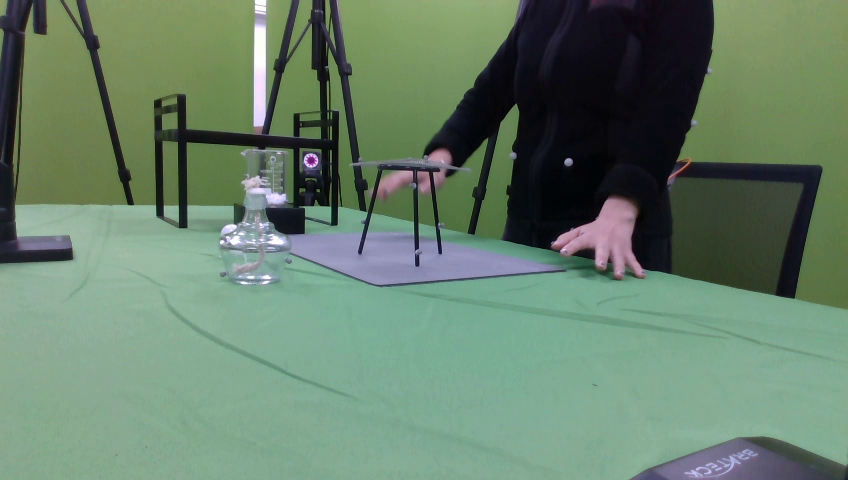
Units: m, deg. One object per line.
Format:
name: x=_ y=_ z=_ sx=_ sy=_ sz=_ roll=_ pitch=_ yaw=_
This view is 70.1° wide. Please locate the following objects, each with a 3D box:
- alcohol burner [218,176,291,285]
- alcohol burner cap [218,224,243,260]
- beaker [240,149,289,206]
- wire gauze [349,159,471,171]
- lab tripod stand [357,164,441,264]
alcohol burner: x=-0.187 y=-0.011 z=0.668 sx=0.078 sy=0.119 sz=0.078 roll=2 pitch=10 yaw=0
alcohol burner cap: x=-0.263 y=0.002 z=0.824 sx=0.034 sy=0.048 sz=0.034 roll=5 pitch=9 yaw=0
beaker: x=-0.286 y=-0.112 z=1.086 sx=0.084 sy=0.100 sz=0.073 roll=-1 pitch=9 yaw=-23
wire gauze: x=-0.019 y=-0.106 z=0.847 sx=0.121 sy=0.011 sz=0.126 roll=8 pitch=7 yaw=42
lab tripod stand: x=-0.023 y=-0.041 z=0.859 sx=0.148 sy=0.131 sz=0.148 roll=2 pitch=5 yaw=0
